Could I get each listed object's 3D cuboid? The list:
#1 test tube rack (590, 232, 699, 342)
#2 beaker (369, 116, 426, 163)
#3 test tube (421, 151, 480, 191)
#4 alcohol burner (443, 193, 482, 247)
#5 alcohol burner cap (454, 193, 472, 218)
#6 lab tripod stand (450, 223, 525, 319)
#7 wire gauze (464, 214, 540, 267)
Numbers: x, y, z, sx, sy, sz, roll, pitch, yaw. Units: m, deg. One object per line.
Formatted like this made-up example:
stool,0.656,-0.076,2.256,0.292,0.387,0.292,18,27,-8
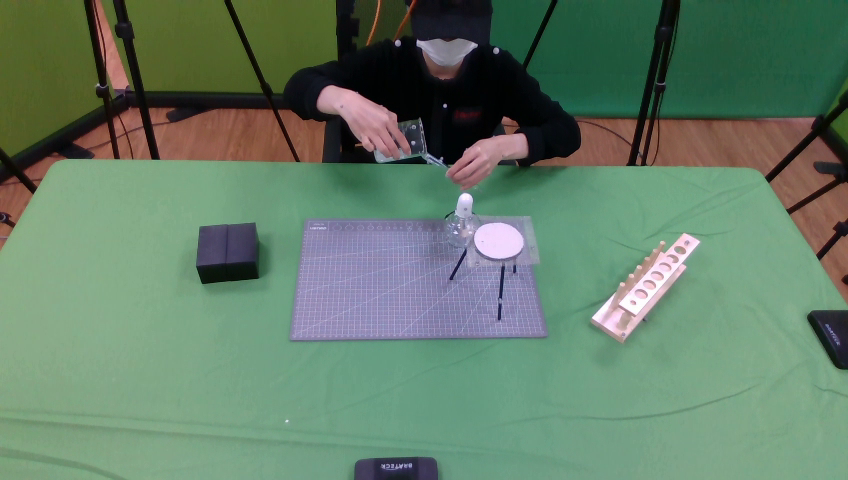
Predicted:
test tube rack,0.407,0.074,1.112,0.066,0.085,0.242,35,53,26
beaker,-0.051,-0.188,1.158,0.100,0.084,0.073,-10,41,-1
test tube,0.056,-0.137,1.219,0.151,0.017,0.017,28,38,-29
alcohol burner,0.075,-0.044,1.177,0.078,0.120,0.077,2,45,-1
alcohol burner cap,0.076,-0.068,1.151,0.034,0.048,0.033,4,46,-4
lab tripod stand,0.120,0.046,1.080,0.148,0.132,0.147,1,47,-1
wire gauze,0.131,-0.002,1.034,0.121,0.011,0.124,1,45,-2
